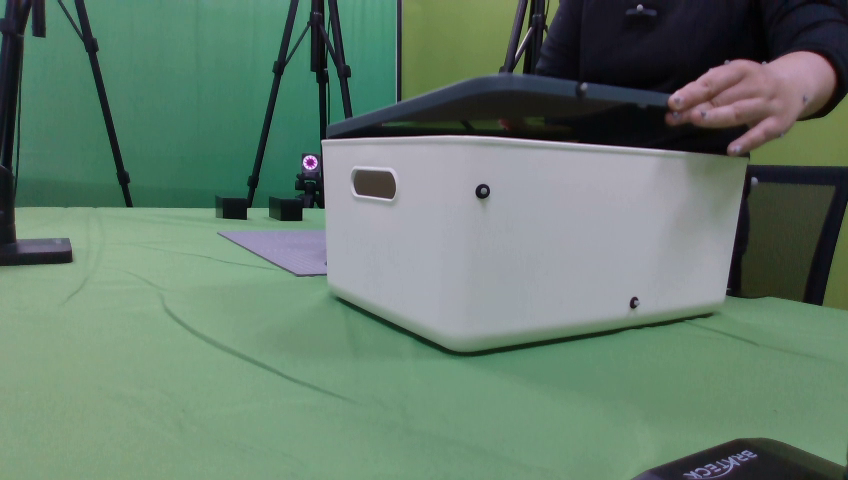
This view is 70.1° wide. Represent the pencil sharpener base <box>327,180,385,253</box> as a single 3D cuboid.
[{"bbox_3d":[-0.103,-0.037,0.932,0.077,0.107,0.061,-1,7,-30],"label":"pencil sharpener base"}]

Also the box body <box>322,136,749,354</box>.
[{"bbox_3d":[0.105,-0.012,0.604,0.366,0.160,0.253,-2,8,-33],"label":"box body"}]

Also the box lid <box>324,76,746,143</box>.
[{"bbox_3d":[0.112,-0.118,0.606,0.373,0.015,0.262,-6,4,-37],"label":"box lid"}]

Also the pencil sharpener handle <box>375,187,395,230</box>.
[{"bbox_3d":[-0.059,-0.050,0.958,0.031,0.067,0.036,-1,13,-30],"label":"pencil sharpener handle"}]
